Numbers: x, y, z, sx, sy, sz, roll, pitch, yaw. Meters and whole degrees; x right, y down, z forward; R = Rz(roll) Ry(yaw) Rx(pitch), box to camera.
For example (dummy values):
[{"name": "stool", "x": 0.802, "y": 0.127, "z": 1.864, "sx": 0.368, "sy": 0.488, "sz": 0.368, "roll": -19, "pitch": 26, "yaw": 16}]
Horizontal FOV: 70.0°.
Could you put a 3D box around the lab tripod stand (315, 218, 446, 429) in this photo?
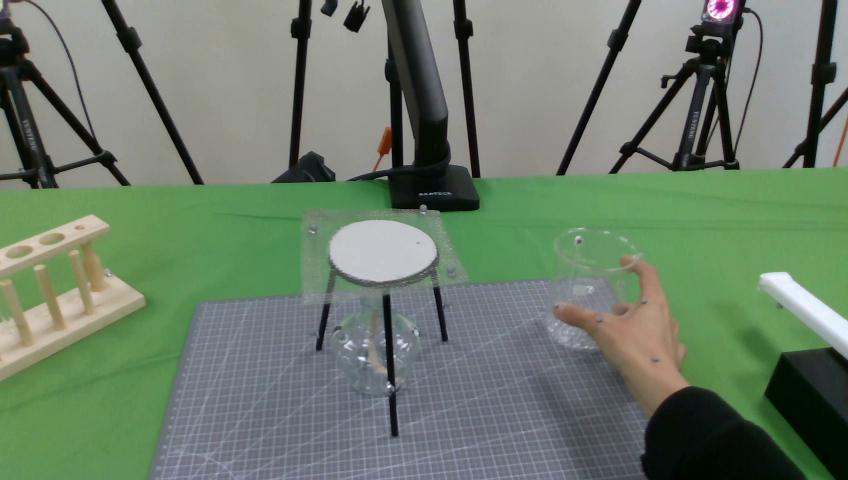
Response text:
[{"name": "lab tripod stand", "x": -0.033, "y": 0.062, "z": 0.516, "sx": 0.148, "sy": 0.132, "sz": 0.147, "roll": 3, "pitch": 33, "yaw": -2}]

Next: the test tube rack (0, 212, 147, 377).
[{"name": "test tube rack", "x": -0.385, "y": 0.066, "z": 0.538, "sx": 0.066, "sy": 0.086, "sz": 0.242, "roll": 24, "pitch": 38, "yaw": 30}]

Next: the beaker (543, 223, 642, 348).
[{"name": "beaker", "x": 0.155, "y": 0.045, "z": 0.573, "sx": 0.084, "sy": 0.101, "sz": 0.073, "roll": 0, "pitch": 33, "yaw": -3}]

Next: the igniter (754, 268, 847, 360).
[{"name": "igniter", "x": 0.370, "y": 0.101, "z": 0.494, "sx": 0.057, "sy": 0.025, "sz": 0.273, "roll": -4, "pitch": 29, "yaw": -9}]

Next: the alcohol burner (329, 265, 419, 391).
[{"name": "alcohol burner", "x": -0.042, "y": 0.071, "z": 0.520, "sx": 0.078, "sy": 0.120, "sz": 0.077, "roll": 3, "pitch": 32, "yaw": -1}]

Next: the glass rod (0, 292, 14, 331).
[{"name": "glass rod", "x": -0.379, "y": 0.004, "z": 0.513, "sx": 0.008, "sy": 0.201, "sz": 0.008, "roll": 5, "pitch": 34, "yaw": -3}]

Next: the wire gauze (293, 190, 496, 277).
[{"name": "wire gauze", "x": -0.026, "y": -0.007, "z": 0.468, "sx": 0.125, "sy": 0.011, "sz": 0.120, "roll": -9, "pitch": 30, "yaw": -30}]
